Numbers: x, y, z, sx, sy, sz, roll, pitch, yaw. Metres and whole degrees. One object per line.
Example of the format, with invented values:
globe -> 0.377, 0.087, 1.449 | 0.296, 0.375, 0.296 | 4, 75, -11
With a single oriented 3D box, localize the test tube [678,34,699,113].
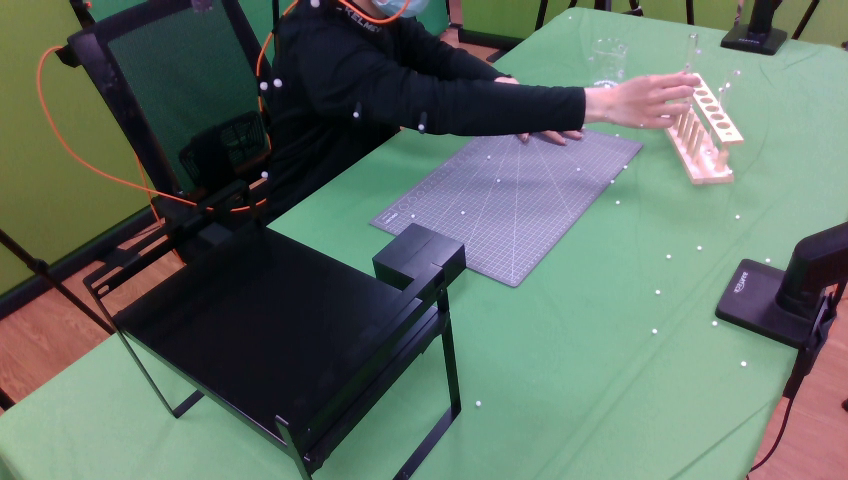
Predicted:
test tube -> 0.428, -0.267, 0.981 | 0.017, 0.151, 0.017 | -7, 51, 10

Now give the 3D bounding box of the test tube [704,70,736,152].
test tube -> 0.502, -0.216, 1.028 | 0.017, 0.151, 0.017 | -2, 40, 2

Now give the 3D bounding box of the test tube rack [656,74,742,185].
test tube rack -> 0.488, -0.205, 1.093 | 0.067, 0.085, 0.241 | -3, 41, 5

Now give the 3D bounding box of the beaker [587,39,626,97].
beaker -> 0.386, -0.361, 1.280 | 0.074, 0.101, 0.083 | -22, 43, -15
